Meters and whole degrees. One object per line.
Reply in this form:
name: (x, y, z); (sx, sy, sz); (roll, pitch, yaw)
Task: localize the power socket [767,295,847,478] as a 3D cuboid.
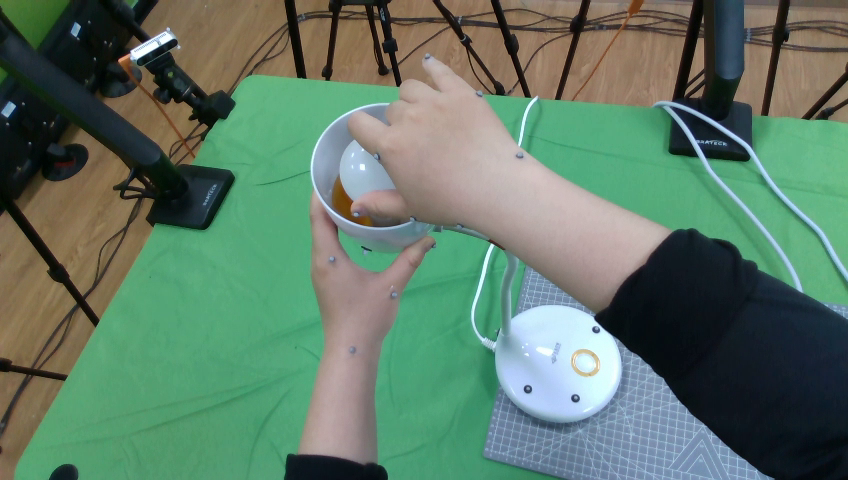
power socket: (0.456, 0.166, 0.725); (0.072, 0.033, 0.225); (8, 59, 14)

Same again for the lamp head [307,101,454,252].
lamp head: (-0.029, -0.038, 0.514); (0.112, 0.124, 0.111); (-2, 66, 6)

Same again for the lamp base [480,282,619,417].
lamp base: (0.146, 0.109, 0.727); (0.178, 0.182, 0.159); (3, 58, 15)

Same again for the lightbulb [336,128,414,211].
lightbulb: (-0.035, -0.048, 0.483); (0.059, 0.108, 0.059); (-1, 74, 3)
